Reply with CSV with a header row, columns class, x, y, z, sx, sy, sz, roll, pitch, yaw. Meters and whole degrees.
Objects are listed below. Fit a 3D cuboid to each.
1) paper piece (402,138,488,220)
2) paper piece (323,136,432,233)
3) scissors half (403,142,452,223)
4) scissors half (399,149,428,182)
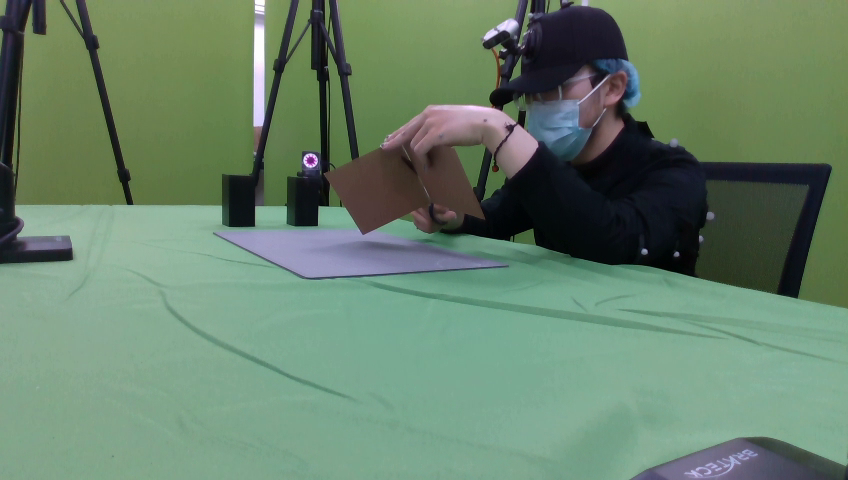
class,x,y,z,sx,sy,sz,roll,pitch,yaw
paper piece,0.031,-0.097,0.938,0.008,0.136,0.137,-45,36,-15
paper piece,-0.074,-0.088,1.000,0.135,0.136,0.004,-25,31,7
scissors half,0.004,-0.095,1.019,0.012,0.176,0.040,7,47,43
scissors half,0.014,-0.113,1.027,0.013,0.040,0.176,2,-18,40
